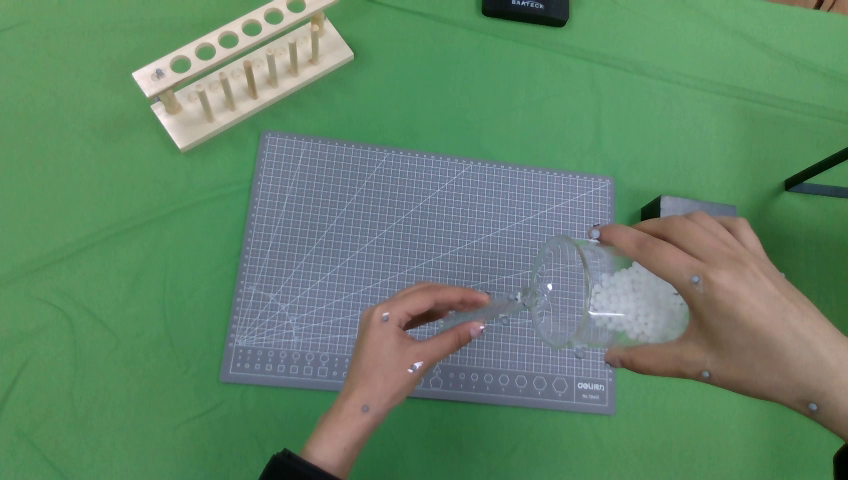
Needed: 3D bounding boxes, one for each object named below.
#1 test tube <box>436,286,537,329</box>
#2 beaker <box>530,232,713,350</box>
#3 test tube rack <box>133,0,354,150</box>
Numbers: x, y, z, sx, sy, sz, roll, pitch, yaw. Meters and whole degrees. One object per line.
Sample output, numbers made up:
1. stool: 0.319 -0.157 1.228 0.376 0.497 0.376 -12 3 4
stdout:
1. test tube: 0.046 0.058 0.494 0.017 0.150 0.017 6 73 -22
2. beaker: 0.130 0.037 0.407 0.101 0.084 0.073 5 78 -17
3. test tube rack: -0.199 -0.208 0.709 0.242 0.085 0.066 -34 82 -15
